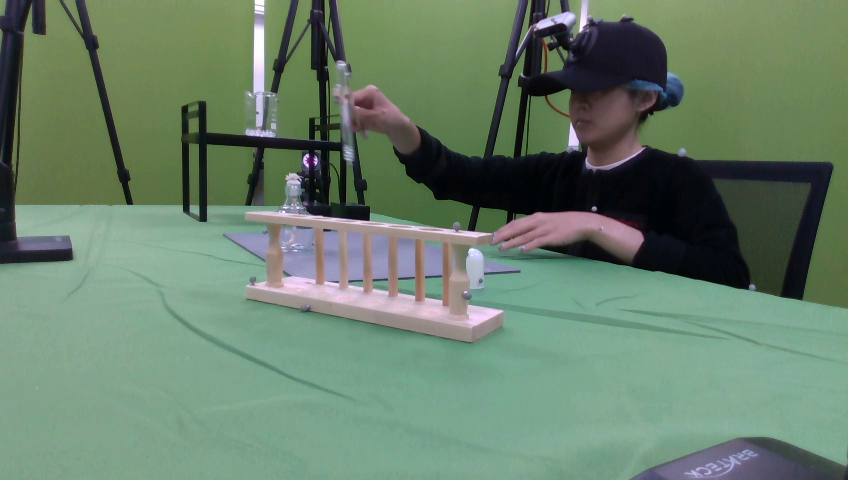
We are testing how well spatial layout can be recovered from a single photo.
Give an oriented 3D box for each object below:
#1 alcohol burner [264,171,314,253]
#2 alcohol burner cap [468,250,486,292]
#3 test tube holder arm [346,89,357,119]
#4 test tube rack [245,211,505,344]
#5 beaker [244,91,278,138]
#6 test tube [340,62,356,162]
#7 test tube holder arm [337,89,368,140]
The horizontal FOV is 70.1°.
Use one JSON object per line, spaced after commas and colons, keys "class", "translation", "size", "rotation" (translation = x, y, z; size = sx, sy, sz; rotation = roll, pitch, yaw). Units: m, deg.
{"class": "alcohol burner", "translation": [-0.194, -0.042, 0.888], "size": [0.078, 0.119, 0.078], "rotation": [3, 5, 0]}
{"class": "alcohol burner cap", "translation": [0.056, 0.035, 0.690], "size": [0.034, 0.048, 0.034], "rotation": [2, 7, 0]}
{"class": "test tube holder arm", "translation": [-0.111, -0.208, 0.930], "size": [0.010, 0.015, 0.088], "rotation": [2, -11, -1]}
{"class": "test tube rack", "translation": [-0.049, 0.025, 0.547], "size": [0.241, 0.085, 0.067], "rotation": [7, 8, 29]}
{"class": "beaker", "translation": [-0.368, -0.280, 1.356], "size": [0.074, 0.100, 0.084], "rotation": [4, 8, 6]}
{"class": "test tube", "translation": [-0.115, -0.192, 0.907], "size": [0.017, 0.150, 0.017], "rotation": [-4, -2, 0]}
{"class": "test tube holder arm", "translation": [-0.114, -0.199, 0.974], "size": [0.013, 0.015, 0.178], "rotation": [1, -11, 6]}
